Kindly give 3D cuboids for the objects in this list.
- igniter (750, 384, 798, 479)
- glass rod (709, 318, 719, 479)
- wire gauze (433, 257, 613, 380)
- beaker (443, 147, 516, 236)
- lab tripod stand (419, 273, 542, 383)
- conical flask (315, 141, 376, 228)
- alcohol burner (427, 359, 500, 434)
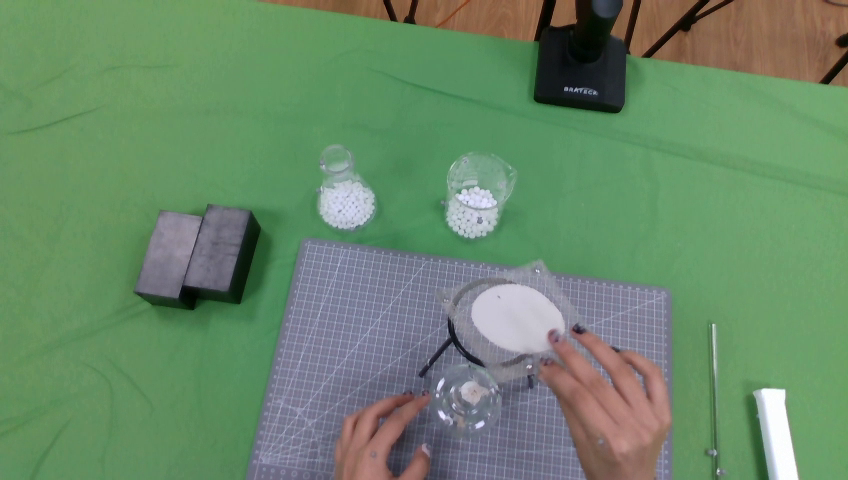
[{"bbox_3d":[0.381,0.291,0.634,0.057,0.025,0.274,5,69,-11],"label":"igniter"},{"bbox_3d":[0.328,0.184,0.685,0.008,0.008,0.198,9,69,1],"label":"glass rod"},{"bbox_3d":[0.088,0.068,0.552,0.125,0.011,0.120,-12,44,-23],"label":"wire gauze"},{"bbox_3d":[0.062,-0.053,0.713,0.084,0.101,0.073,-17,71,-9],"label":"beaker"},{"bbox_3d":[0.063,0.099,0.635,0.148,0.132,0.147,1,71,-1],"label":"lab tripod stand"},{"bbox_3d":[-0.096,-0.069,0.701,0.075,0.122,0.075,1,69,-1],"label":"conical flask"},{"bbox_3d":[0.042,0.158,0.623,0.078,0.120,0.077,1,67,-3],"label":"alcohol burner"}]
